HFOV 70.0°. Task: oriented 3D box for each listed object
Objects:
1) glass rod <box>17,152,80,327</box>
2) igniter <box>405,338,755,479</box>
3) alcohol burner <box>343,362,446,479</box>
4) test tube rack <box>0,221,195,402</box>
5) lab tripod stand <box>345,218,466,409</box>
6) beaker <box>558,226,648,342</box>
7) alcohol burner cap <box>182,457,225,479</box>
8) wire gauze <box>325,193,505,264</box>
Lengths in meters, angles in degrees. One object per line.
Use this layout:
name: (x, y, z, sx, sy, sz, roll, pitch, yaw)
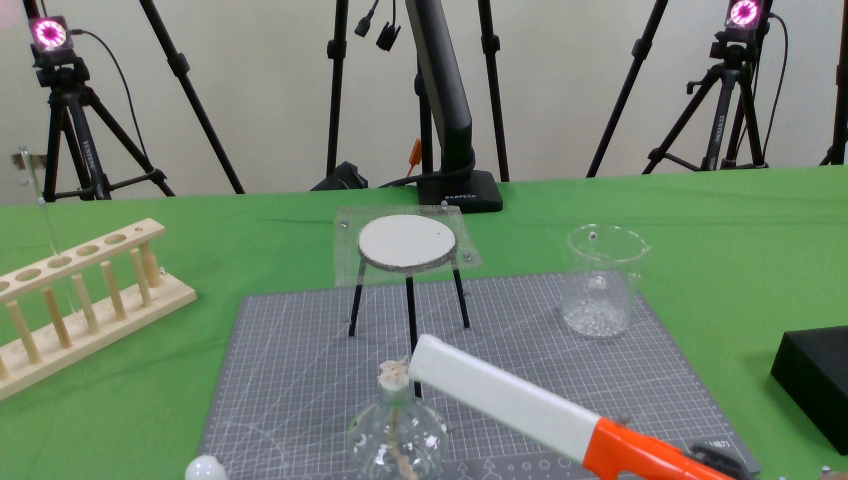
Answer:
glass rod: (-0.361, 0.008, 0.584, 0.008, 0.201, 0.008, 3, 33, -2)
igniter: (0.104, 0.122, 0.342, 0.274, 0.057, 0.025, 21, 4, 31)
alcohol burner: (-0.022, 0.138, 0.452, 0.078, 0.120, 0.077, 1, 30, 0)
test tube rack: (-0.365, 0.071, 0.607, 0.066, 0.086, 0.242, 23, 38, 34)
lab tripod stand: (-0.014, 0.059, 0.566, 0.148, 0.132, 0.147, 1, 31, 0)
beaker: (0.178, 0.046, 0.617, 0.084, 0.101, 0.073, 0, 31, 2)
alcohol burner cap: (-0.163, 0.182, 0.450, 0.034, 0.048, 0.033, 1, 30, 0)
wire gauze: (-0.011, -0.011, 0.520, 0.125, 0.011, 0.120, -8, 27, -27)
